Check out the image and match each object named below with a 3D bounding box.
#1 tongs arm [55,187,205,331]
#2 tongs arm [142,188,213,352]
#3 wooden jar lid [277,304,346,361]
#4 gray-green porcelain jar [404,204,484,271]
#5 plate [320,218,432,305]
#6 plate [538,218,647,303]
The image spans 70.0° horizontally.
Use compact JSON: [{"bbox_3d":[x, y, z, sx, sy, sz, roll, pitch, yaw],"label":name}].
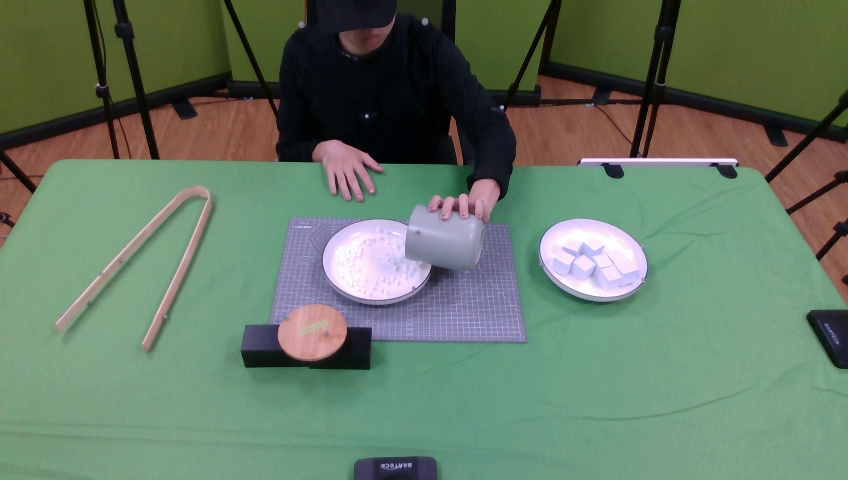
[{"bbox_3d":[-0.530,0.022,1.126,0.051,0.026,0.383,15,46,8],"label":"tongs arm"},{"bbox_3d":[-0.450,0.040,1.122,0.028,0.028,0.385,3,46,1],"label":"tongs arm"},{"bbox_3d":[-0.179,0.150,0.972,0.108,0.021,0.107,2,45,-2],"label":"wooden jar lid"},{"bbox_3d":[0.039,-0.003,1.089,0.126,0.106,0.105,11,46,11],"label":"gray-green porcelain jar"},{"bbox_3d":[-0.089,0.044,1.134,0.209,0.038,0.208,3,46,-2],"label":"plate"},{"bbox_3d":[0.322,0.043,1.171,0.208,0.039,0.206,2,46,-2],"label":"plate"}]
